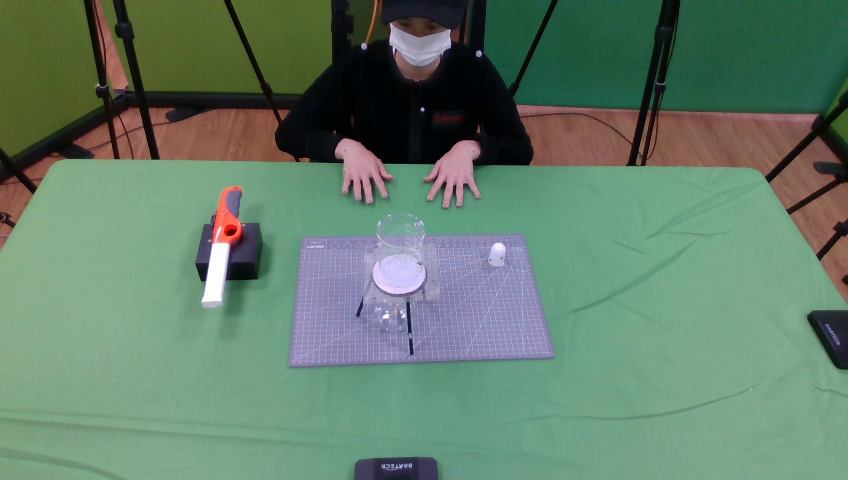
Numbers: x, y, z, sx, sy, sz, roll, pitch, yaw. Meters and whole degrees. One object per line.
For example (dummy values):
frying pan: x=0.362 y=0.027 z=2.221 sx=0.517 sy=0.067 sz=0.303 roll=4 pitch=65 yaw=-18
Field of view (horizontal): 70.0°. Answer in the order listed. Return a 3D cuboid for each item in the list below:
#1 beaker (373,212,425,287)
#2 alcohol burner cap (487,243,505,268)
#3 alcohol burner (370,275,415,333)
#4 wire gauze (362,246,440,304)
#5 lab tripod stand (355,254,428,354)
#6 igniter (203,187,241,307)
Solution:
beaker: x=-0.036 y=0.019 z=0.936 sx=0.074 sy=0.101 sz=0.083 roll=-29 pitch=54 yaw=-26
alcohol burner cap: x=0.141 y=0.027 z=1.166 sx=0.034 sy=0.048 sz=0.033 roll=2 pitch=45 yaw=-2
alcohol burner: x=-0.054 y=0.103 z=1.026 sx=0.078 sy=0.120 sz=0.077 roll=1 pitch=44 yaw=-1
wire gauze: x=-0.038 y=0.052 z=0.972 sx=0.121 sy=0.011 sz=0.124 roll=0 pitch=44 yaw=-5
lab tripod stand: x=-0.046 y=0.100 z=1.016 sx=0.148 sy=0.132 sz=0.147 roll=1 pitch=47 yaw=-1
igniter: x=-0.365 y=0.003 z=1.098 sx=0.057 sy=0.025 sz=0.274 roll=-1 pitch=49 yaw=-7
